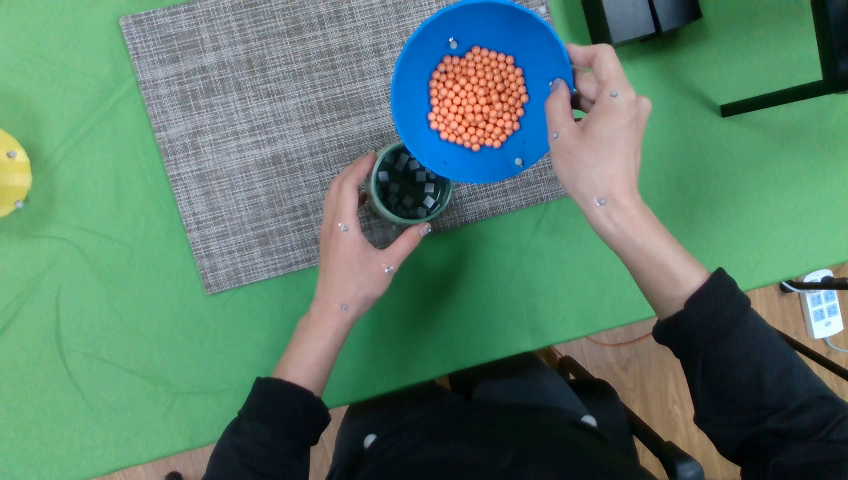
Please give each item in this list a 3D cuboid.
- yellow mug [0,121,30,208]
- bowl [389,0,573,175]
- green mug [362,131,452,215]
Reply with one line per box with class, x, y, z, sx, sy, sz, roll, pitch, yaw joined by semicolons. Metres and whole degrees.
yellow mug;-0.460;-0.061;0.593;0.100;0.064;0.131;17;94;-9
bowl;0.045;-0.140;0.523;0.151;0.076;0.152;-2;120;-3
green mug;-0.017;-0.086;0.625;0.093;0.104;0.125;1;96;-7
